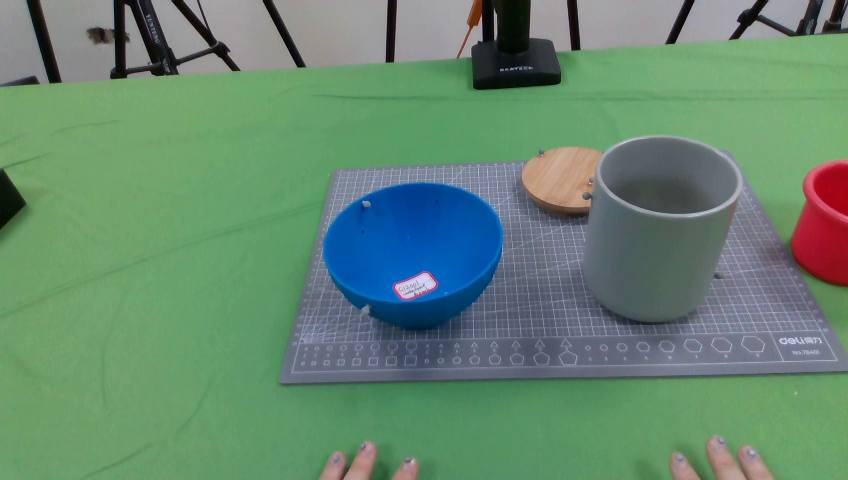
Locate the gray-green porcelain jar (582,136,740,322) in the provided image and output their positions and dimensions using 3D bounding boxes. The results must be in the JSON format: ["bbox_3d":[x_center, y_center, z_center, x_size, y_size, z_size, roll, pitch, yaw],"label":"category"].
[{"bbox_3d":[0.186,-0.004,0.497,0.106,0.128,0.105,-3,42,4],"label":"gray-green porcelain jar"}]

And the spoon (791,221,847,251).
[{"bbox_3d":[0.398,-0.023,0.485,0.022,0.193,0.041,52,54,-7],"label":"spoon"}]

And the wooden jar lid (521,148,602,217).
[{"bbox_3d":[0.157,-0.061,0.643,0.108,0.021,0.107,-3,41,3],"label":"wooden jar lid"}]

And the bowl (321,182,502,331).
[{"bbox_3d":[-0.007,0.025,0.524,0.151,0.077,0.150,-3,42,3],"label":"bowl"}]
